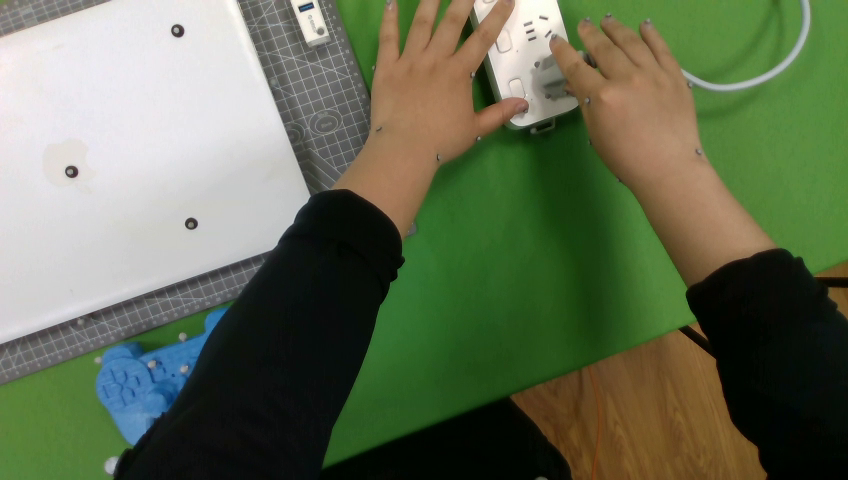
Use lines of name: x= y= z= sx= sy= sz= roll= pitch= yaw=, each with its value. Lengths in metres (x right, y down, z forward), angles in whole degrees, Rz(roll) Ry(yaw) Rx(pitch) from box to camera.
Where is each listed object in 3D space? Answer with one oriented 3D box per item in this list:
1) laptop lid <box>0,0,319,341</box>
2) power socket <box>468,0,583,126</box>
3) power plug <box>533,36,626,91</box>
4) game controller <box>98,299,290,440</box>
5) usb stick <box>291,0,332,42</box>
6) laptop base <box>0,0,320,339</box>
laptop lid: x=-0.292 y=-0.061 z=0.507 sx=0.357 sy=0.013 sz=0.242 roll=-18 pitch=101 yaw=-2
power socket: x=0.075 y=-0.210 z=0.522 sx=0.072 sy=0.032 sz=0.227 roll=-19 pitch=99 yaw=0
power plug: x=0.129 y=-0.147 z=0.515 sx=0.073 sy=0.052 sz=0.035 roll=-8 pitch=98 yaw=-8
game controller: x=-0.207 y=0.115 z=0.536 sx=0.155 sy=0.051 sz=0.097 roll=-19 pitch=93 yaw=-2
usb stick: x=-0.099 y=-0.200 z=0.510 sx=0.021 sy=0.027 sz=0.059 roll=-20 pitch=97 yaw=2
laptop base: x=-0.293 y=-0.065 z=0.519 sx=0.354 sy=0.023 sz=0.236 roll=-20 pitch=102 yaw=-2
